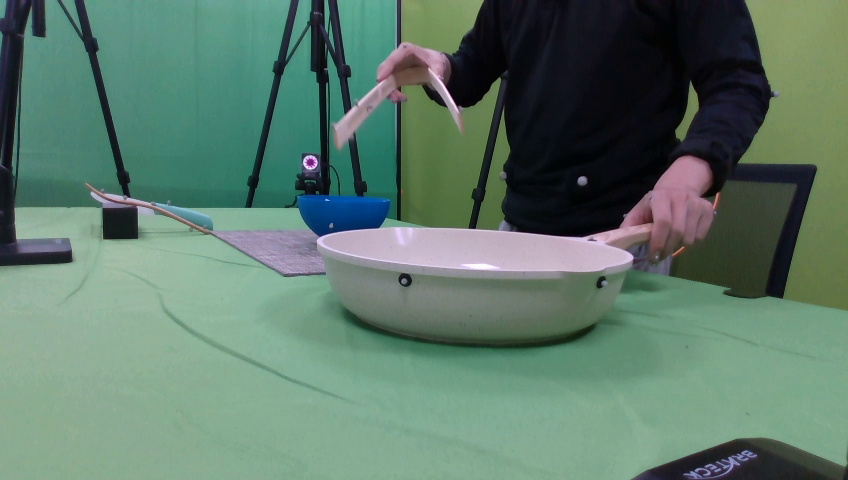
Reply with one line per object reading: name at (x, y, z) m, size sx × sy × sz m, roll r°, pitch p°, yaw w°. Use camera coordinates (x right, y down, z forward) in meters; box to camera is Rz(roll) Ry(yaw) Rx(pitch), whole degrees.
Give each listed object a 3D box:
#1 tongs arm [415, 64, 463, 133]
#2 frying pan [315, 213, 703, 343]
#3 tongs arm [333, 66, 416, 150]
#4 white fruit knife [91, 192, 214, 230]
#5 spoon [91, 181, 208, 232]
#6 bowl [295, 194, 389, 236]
tongs arm at (0.018, -0.204, 0.833) m, size 0.028 × 0.028 × 0.386 m, roll -15°, pitch 24°, yaw 1°
frying pan at (0.133, 0.014, 0.629) m, size 0.490 × 0.102 × 0.305 m, roll -11°, pitch 14°, yaw -29°
tongs arm at (-0.057, -0.194, 0.840) m, size 0.051 × 0.026 × 0.384 m, roll -7°, pitch 24°, yaw 10°
white fruit knife at (-0.477, -0.055, 1.077) m, size 0.208 × 0.027 × 0.016 m, roll 15°, pitch -5°, yaw -30°
spoon at (-0.461, -0.053, 1.023) m, size 0.195 × 0.021 × 0.041 m, roll 21°, pitch 25°, yaw -24°
bowl at (-0.132, -0.032, 0.980) m, size 0.151 × 0.077 × 0.151 m, roll 2°, pitch 7°, yaw 0°
